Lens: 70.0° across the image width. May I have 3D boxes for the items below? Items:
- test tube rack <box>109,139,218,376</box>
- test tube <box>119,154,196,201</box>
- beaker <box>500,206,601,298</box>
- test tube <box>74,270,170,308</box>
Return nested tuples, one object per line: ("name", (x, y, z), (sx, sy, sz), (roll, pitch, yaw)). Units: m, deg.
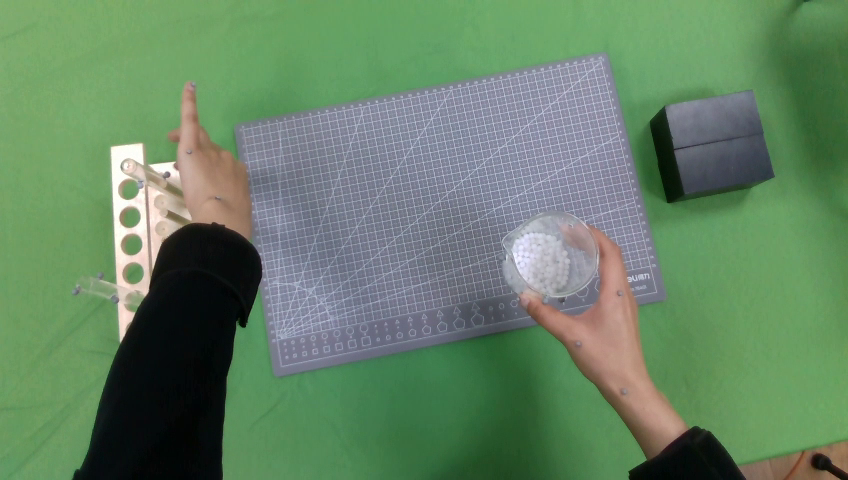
("test tube rack", (-0.280, 0.019, 0.656), (0.067, 0.085, 0.241), (-7, 83, 1))
("test tube", (-0.270, -0.062, 0.621), (0.017, 0.151, 0.017), (0, 82, 1))
("beaker", (0.106, 0.015, 0.553), (0.084, 0.100, 0.074), (15, 81, 3))
("test tube", (-0.294, 0.051, 0.603), (0.017, 0.151, 0.017), (-1, 76, 5))
